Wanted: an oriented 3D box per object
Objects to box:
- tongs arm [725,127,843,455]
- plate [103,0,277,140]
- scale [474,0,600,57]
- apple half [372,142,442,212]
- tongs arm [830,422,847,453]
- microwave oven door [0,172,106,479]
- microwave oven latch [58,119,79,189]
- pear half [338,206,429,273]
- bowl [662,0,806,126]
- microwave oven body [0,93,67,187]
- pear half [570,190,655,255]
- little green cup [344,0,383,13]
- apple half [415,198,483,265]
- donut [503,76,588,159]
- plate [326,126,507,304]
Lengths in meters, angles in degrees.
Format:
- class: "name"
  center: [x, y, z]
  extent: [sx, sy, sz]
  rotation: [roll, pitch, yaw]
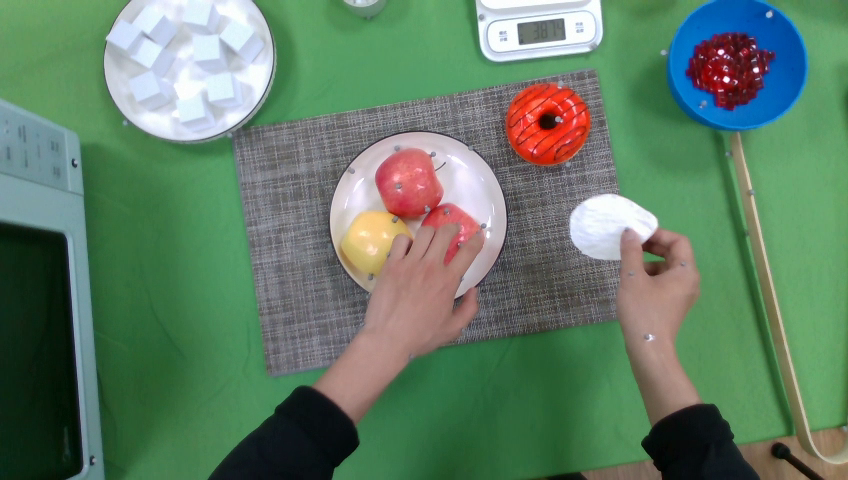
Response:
- class: "tongs arm"
  center: [0.412, 0.055, 0.697]
  extent: [0.051, 0.026, 0.384]
  rotation: [-10, 87, -3]
- class: "plate"
  center: [-0.278, -0.220, 0.736]
  extent: [0.207, 0.039, 0.207]
  rotation: [0, 86, 2]
- class: "scale"
  center: [0.132, -0.328, 0.734]
  extent: [0.148, 0.031, 0.200]
  rotation: [-5, 86, 2]
- class: "apple half"
  center: [-0.022, -0.072, 0.696]
  extent: [0.074, 0.053, 0.080]
  rotation: [-18, 89, 3]
- class: "tongs arm"
  center: [0.498, 0.048, 0.698]
  extent: [0.028, 0.028, 0.387]
  rotation: [5, 87, -5]
- class: "microwave oven door"
  center: [-0.408, 0.109, 0.595]
  extent: [0.039, 0.244, 0.355]
  rotation: [-8, 85, 1]
- class: "microwave oven latch"
  center: [-0.428, -0.100, 0.713]
  extent: [0.030, 0.029, 0.079]
  rotation: [-6, 86, 1]
- class: "pear half"
  center: [-0.041, 0.006, 0.693]
  extent: [0.110, 0.056, 0.076]
  rotation: [24, 88, -7]
- class: "bowl"
  center: [0.340, -0.196, 0.695]
  extent: [0.151, 0.077, 0.151]
  rotation: [0, 87, 2]
- class: "microwave oven body"
  center: [-0.557, 0.085, 0.607]
  extent: [0.326, 0.260, 0.440]
  rotation: [-7, 86, 1]
- class: "pear half"
  center: [0.199, -0.022, 0.636]
  extent: [0.087, 0.031, 0.071]
  rotation: [-5, 114, 30]
- class: "little green cup"
  center: [-0.076, -0.309, 0.736]
  extent: [0.061, 0.039, 0.061]
  rotation: [0, 85, 2]
- class: "apple half"
  center: [0.027, -0.009, 0.703]
  extent: [0.081, 0.033, 0.081]
  rotation: [0, 85, 2]
- class: "donut"
  center: [0.141, -0.143, 0.710]
  extent: [0.099, 0.048, 0.099]
  rotation: [0, 87, 4]
- class: "plate"
  center: [-0.008, -0.028, 0.710]
  extent: [0.209, 0.038, 0.208]
  rotation: [0, 86, 2]
